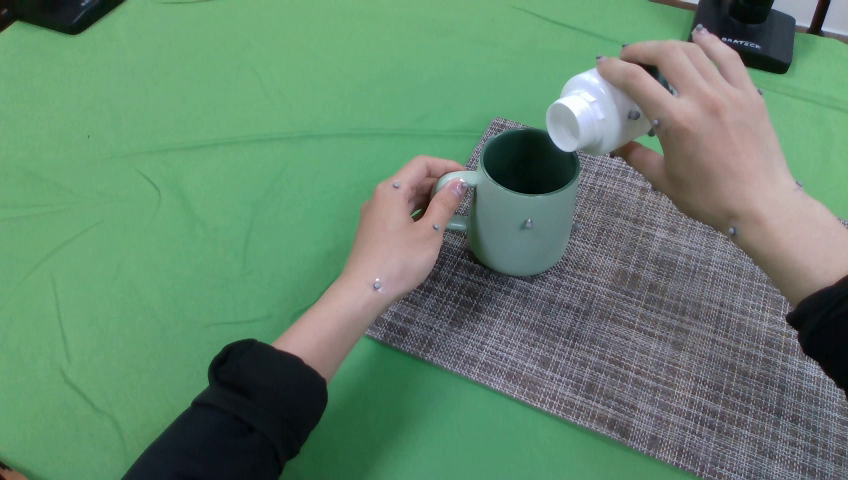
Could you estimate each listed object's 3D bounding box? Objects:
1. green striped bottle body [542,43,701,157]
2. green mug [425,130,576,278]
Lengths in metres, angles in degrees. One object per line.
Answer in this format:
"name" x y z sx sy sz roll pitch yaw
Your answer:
"green striped bottle body" 0.148 -0.105 0.466 0.119 0.064 0.062 -25 56 -22
"green mug" 0.063 -0.028 0.515 0.125 0.106 0.091 -2 52 -1
